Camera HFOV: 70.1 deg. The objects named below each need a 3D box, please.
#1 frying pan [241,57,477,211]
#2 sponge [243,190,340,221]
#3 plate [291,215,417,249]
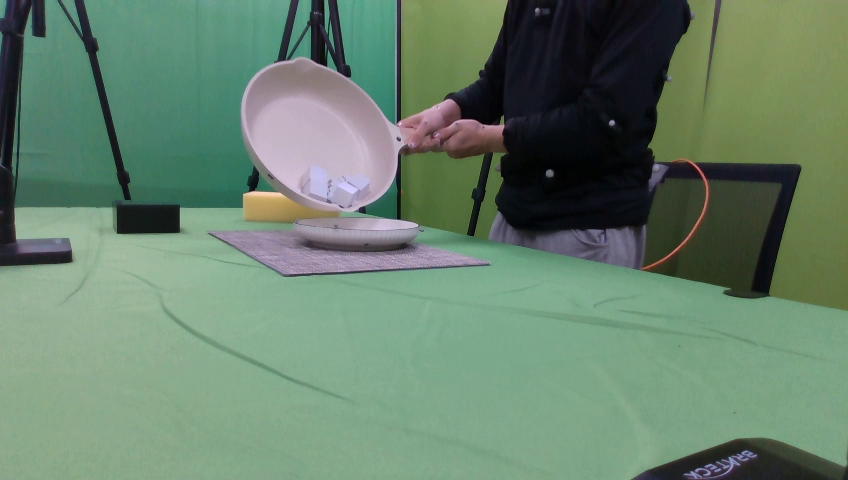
[{"bbox_3d":[-0.099,-0.190,1.124,0.490,0.306,0.102,-8,-17,-31],"label":"frying pan"},{"bbox_3d":[-0.298,-0.077,1.388,0.207,0.061,0.118,2,8,-7],"label":"sponge"},{"bbox_3d":[-0.115,-0.013,1.002,0.208,0.039,0.207,2,7,0],"label":"plate"}]
